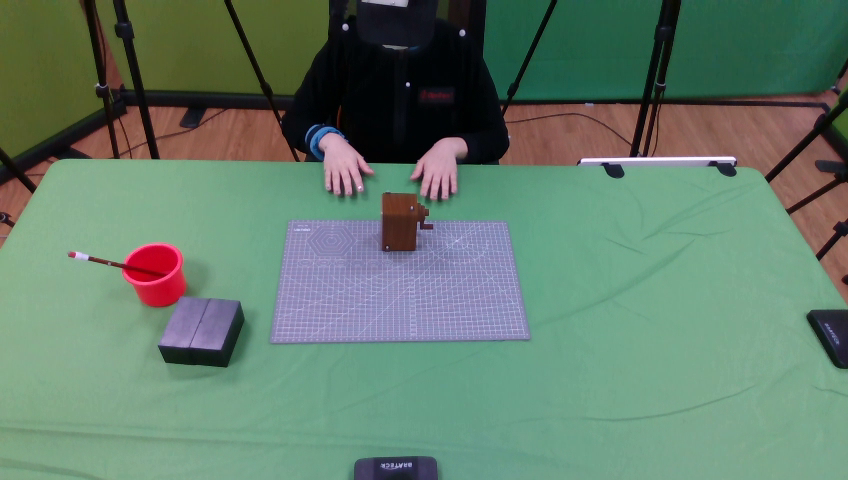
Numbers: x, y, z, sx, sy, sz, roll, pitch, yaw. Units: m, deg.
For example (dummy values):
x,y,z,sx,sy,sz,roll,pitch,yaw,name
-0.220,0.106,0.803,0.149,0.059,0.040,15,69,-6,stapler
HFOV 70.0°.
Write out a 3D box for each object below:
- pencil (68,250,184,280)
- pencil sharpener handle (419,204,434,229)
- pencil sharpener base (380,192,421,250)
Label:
x,y,z,sx,sy,sz,roll,pitch,yaw,name
-0.498,0.046,1.026,0.195,0.012,0.012,21,29,-44,pencil
0.006,-0.045,1.160,0.031,0.068,0.036,0,52,-4,pencil sharpener handle
-0.046,-0.035,1.163,0.077,0.107,0.061,0,46,-4,pencil sharpener base
